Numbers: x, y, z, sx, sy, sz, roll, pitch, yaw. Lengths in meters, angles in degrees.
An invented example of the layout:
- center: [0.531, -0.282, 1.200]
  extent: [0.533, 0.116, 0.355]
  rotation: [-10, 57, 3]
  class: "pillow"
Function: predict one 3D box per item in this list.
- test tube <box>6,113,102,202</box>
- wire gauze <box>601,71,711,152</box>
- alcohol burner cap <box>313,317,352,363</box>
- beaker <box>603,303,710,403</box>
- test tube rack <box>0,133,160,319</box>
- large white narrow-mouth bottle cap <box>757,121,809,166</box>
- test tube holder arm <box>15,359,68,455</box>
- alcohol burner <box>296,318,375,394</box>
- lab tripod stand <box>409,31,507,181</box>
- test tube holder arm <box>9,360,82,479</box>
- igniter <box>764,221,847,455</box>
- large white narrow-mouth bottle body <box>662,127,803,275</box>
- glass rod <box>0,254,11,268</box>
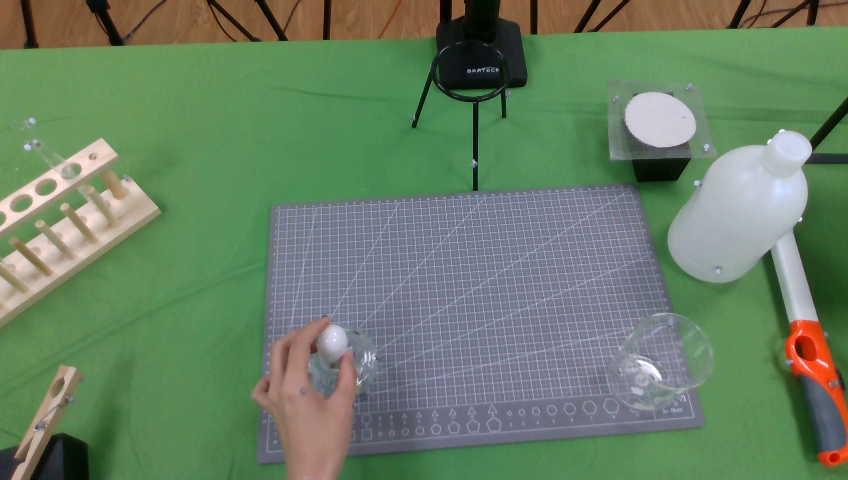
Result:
- center: [-0.389, -0.083, 0.645]
  extent: [0.017, 0.151, 0.017]
  rotation: [-1, 64, 3]
  class: "test tube"
- center: [0.279, -0.156, 0.738]
  extent: [0.121, 0.011, 0.124]
  rotation: [3, 62, 1]
  class: "wire gauze"
- center: [-0.086, 0.089, 0.554]
  extent: [0.034, 0.048, 0.033]
  rotation: [-1, 59, 2]
  class: "alcohol burner cap"
- center: [0.220, 0.115, 0.594]
  extent: [0.084, 0.101, 0.073]
  rotation: [1, 62, 1]
  class: "beaker"
- center: [-0.425, -0.005, 0.659]
  extent: [0.242, 0.086, 0.066]
  rotation: [-41, 70, -20]
  class: "test tube rack"
- center: [0.327, -0.088, 0.555]
  extent: [0.038, 0.024, 0.037]
  rotation: [0, 62, 0]
  class: "large white narrow-mouth bottle cap"
- center: [-0.351, 0.154, 0.562]
  extent: [0.010, 0.015, 0.087]
  rotation: [6, 62, 10]
  class: "test tube holder arm"
- center: [-0.087, 0.107, 0.587]
  extent: [0.078, 0.120, 0.077]
  rotation: [1, 61, -2]
  class: "alcohol burner"
- center: [0.049, -0.165, 0.724]
  extent: [0.148, 0.132, 0.147]
  rotation: [1, 63, -2]
  class: "lab tripod stand"
- center: [-0.353, 0.194, 0.540]
  extent: [0.013, 0.015, 0.177]
  rotation: [6, 62, 10]
  class: "test tube holder arm"
- center: [0.407, 0.090, 0.655]
  extent: [0.057, 0.025, 0.274]
  rotation: [7, 61, -9]
  class: "igniter"
- center: [0.327, -0.046, 0.630]
  extent: [0.102, 0.196, 0.101]
  rotation: [0, 61, 0]
  class: "large white narrow-mouth bottle body"
- center: [-0.458, -0.028, 0.596]
  extent: [0.008, 0.201, 0.008]
  rotation: [2, 53, -2]
  class: "glass rod"
